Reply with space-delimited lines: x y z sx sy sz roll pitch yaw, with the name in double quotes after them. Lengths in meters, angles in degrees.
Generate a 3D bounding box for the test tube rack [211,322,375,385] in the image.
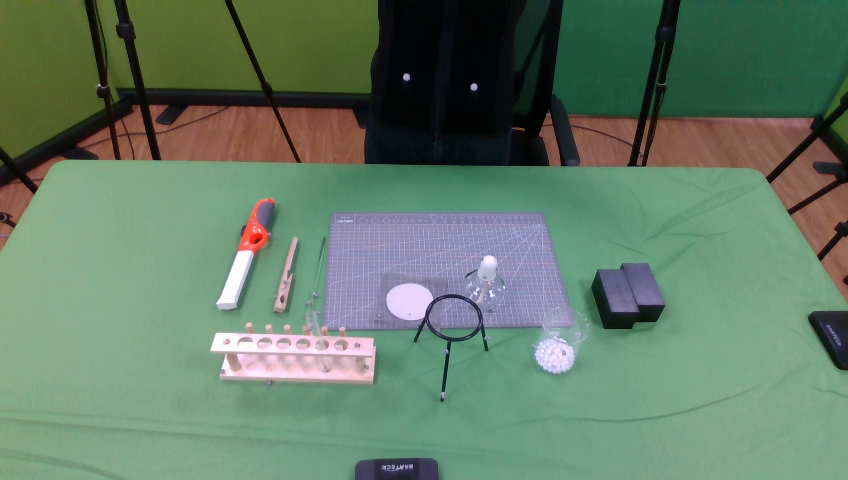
-0.202 0.176 0.969 0.242 0.085 0.066 3 46 -2 "test tube rack"

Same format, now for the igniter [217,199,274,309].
-0.336 0.017 1.153 0.057 0.025 0.275 -2 45 8 "igniter"

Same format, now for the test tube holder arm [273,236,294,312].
-0.259 0.059 1.123 0.013 0.015 0.177 28 39 -27 "test tube holder arm"

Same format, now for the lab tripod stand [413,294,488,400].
0.044 0.159 0.972 0.148 0.132 0.147 3 44 -2 "lab tripod stand"

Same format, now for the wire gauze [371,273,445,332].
-0.028 0.108 1.100 0.125 0.011 0.121 7 45 4 "wire gauze"

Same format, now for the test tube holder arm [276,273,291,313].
-0.254 0.093 1.094 0.010 0.015 0.087 29 38 -26 "test tube holder arm"

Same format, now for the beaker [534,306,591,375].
0.226 0.168 1.002 0.084 0.101 0.073 -5 47 -10 "beaker"

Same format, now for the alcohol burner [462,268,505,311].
0.108 0.071 1.072 0.078 0.119 0.077 4 45 -4 "alcohol burner"

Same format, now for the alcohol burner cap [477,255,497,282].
0.110 0.047 1.046 0.034 0.048 0.033 2 52 -2 "alcohol burner cap"

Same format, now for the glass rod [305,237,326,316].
-0.202 0.063 1.131 0.008 0.008 0.198 3 44 0 "glass rod"

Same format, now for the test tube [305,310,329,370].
-0.162 0.156 0.924 0.017 0.151 0.017 -1 48 1 "test tube"
